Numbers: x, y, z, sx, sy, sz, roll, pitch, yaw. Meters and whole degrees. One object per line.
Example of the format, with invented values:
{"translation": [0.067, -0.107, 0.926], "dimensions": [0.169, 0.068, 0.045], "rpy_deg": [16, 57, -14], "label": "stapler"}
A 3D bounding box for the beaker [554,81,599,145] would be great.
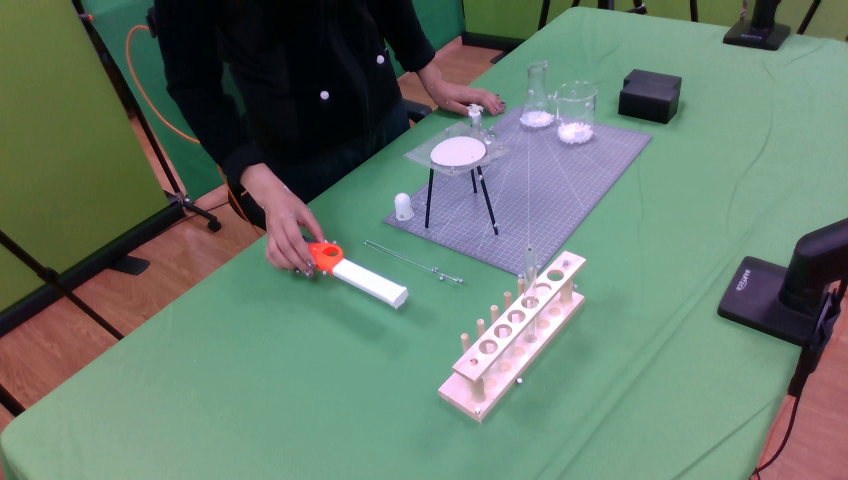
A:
{"translation": [0.286, -0.237, 1.144], "dimensions": [0.084, 0.101, 0.073], "rpy_deg": [-16, 40, -7], "label": "beaker"}

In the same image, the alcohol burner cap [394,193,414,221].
{"translation": [-0.036, -0.059, 1.040], "dimensions": [0.034, 0.048, 0.033], "rpy_deg": [-5, 41, 5], "label": "alcohol burner cap"}

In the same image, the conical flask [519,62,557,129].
{"translation": [0.225, -0.287, 1.198], "dimensions": [0.075, 0.122, 0.075], "rpy_deg": [-6, 40, 5], "label": "conical flask"}

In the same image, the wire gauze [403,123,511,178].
{"translation": [0.051, -0.140, 0.943], "dimensions": [0.125, 0.011, 0.120], "rpy_deg": [-31, 43, -25], "label": "wire gauze"}

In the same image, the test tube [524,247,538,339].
{"translation": [0.133, 0.070, 0.749], "dimensions": [0.017, 0.151, 0.017], "rpy_deg": [-5, 38, 4], "label": "test tube"}

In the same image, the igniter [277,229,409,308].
{"translation": [-0.133, 0.037, 0.912], "dimensions": [0.274, 0.025, 0.057], "rpy_deg": [23, 52, 35], "label": "igniter"}

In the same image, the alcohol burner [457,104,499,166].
{"translation": [0.099, -0.198, 1.124], "dimensions": [0.078, 0.119, 0.077], "rpy_deg": [-5, 39, 4], "label": "alcohol burner"}

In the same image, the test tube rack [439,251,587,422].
{"translation": [0.118, 0.111, 0.780], "dimensions": [0.066, 0.085, 0.243], "rpy_deg": [26, 51, 35], "label": "test tube rack"}

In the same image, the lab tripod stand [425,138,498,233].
{"translation": [0.063, -0.091, 0.988], "dimensions": [0.148, 0.132, 0.147], "rpy_deg": [-6, 39, 6], "label": "lab tripod stand"}

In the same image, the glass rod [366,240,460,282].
{"translation": [-0.022, 0.032, 0.961], "dimensions": [0.198, 0.008, 0.008], "rpy_deg": [21, 49, 35], "label": "glass rod"}
